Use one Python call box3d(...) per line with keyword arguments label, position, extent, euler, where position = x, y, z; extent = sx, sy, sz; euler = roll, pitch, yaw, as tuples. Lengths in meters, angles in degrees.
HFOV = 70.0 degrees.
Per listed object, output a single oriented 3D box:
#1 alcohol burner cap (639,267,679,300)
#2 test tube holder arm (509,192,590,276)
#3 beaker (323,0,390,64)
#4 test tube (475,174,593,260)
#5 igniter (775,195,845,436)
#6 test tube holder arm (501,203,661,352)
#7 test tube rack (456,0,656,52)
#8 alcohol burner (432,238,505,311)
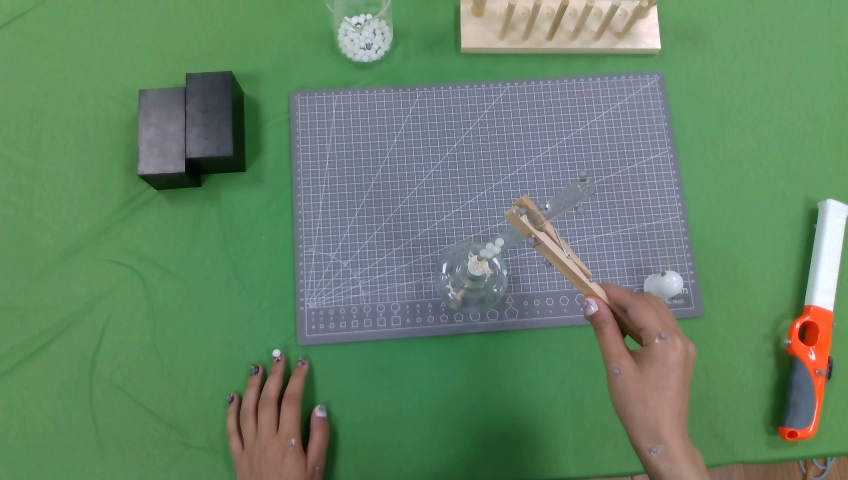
box3d(label="alcohol burner cap", position=(0.260, 0.046, 0.664), extent=(0.034, 0.048, 0.033), euler=(0, 76, -2))
box3d(label="test tube holder arm", position=(0.102, -0.002, 0.488), extent=(0.088, 0.015, 0.010), euler=(50, 56, -7))
box3d(label="beaker", position=(-0.075, -0.253, 0.690), extent=(0.074, 0.100, 0.083), euler=(-1, 78, -2))
box3d(label="test tube", position=(0.081, -0.014, 0.486), extent=(0.017, 0.150, 0.017), euler=(10, 65, -23))
box3d(label="igniter", position=(0.431, 0.082, 0.672), extent=(0.057, 0.025, 0.275), euler=(19, 78, -8))
box3d(label="test tube holder arm", position=(0.130, 0.034, 0.493), extent=(0.179, 0.015, 0.013), euler=(43, 57, -11))
box3d(label="test tube rack", position=(0.162, -0.273, 0.710), extent=(0.242, 0.085, 0.066), euler=(0, 78, -2))
box3d(label="alcohol burner", position=(0.048, 0.032, 0.623), extent=(0.078, 0.119, 0.077), euler=(1, 76, -3))
